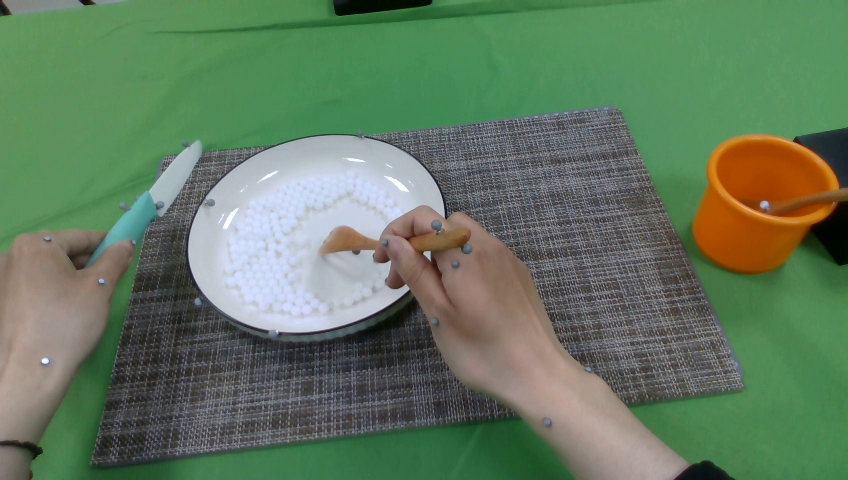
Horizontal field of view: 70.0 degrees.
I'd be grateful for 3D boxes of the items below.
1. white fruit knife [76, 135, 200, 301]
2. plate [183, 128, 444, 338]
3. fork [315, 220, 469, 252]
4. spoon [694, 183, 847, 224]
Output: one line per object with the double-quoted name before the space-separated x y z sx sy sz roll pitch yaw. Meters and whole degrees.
"white fruit knife" -0.235 -0.032 0.515 0.016 0.028 0.205 -17 36 23
"plate" -0.086 -0.009 0.497 0.209 0.038 0.207 -2 52 2
"fork" -0.032 -0.002 0.410 0.206 0.019 0.028 1 54 56
"spoon" 0.280 -0.030 0.428 0.041 0.193 0.022 -36 102 -25
